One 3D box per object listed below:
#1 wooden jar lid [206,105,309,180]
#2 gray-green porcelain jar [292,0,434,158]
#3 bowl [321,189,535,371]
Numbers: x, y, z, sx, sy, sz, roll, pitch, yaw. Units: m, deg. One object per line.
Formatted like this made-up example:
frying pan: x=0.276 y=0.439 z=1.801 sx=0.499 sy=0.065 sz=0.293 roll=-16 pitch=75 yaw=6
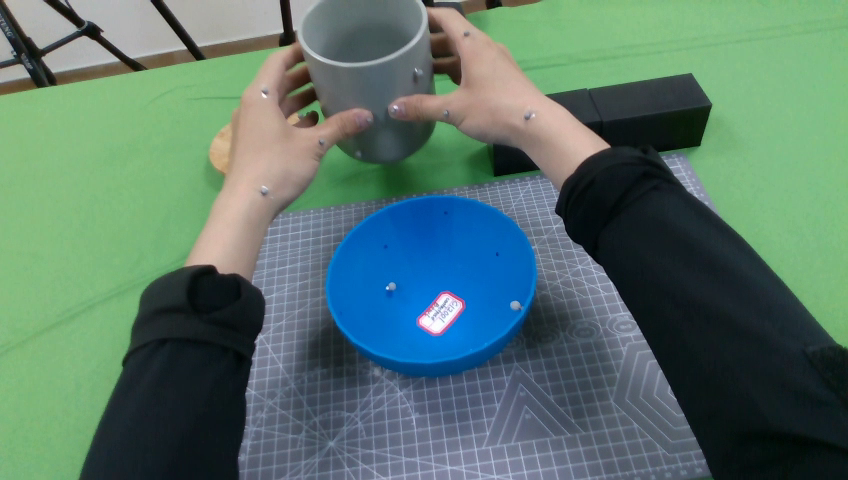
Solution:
wooden jar lid: x=-0.175 y=-0.103 z=0.641 sx=0.108 sy=0.021 sz=0.107 roll=-2 pitch=50 yaw=3
gray-green porcelain jar: x=-0.047 y=-0.144 z=0.530 sx=0.106 sy=0.127 sz=0.105 roll=-3 pitch=57 yaw=5
bowl: x=0.006 y=0.041 z=0.453 sx=0.151 sy=0.077 sz=0.150 roll=-4 pitch=49 yaw=5
